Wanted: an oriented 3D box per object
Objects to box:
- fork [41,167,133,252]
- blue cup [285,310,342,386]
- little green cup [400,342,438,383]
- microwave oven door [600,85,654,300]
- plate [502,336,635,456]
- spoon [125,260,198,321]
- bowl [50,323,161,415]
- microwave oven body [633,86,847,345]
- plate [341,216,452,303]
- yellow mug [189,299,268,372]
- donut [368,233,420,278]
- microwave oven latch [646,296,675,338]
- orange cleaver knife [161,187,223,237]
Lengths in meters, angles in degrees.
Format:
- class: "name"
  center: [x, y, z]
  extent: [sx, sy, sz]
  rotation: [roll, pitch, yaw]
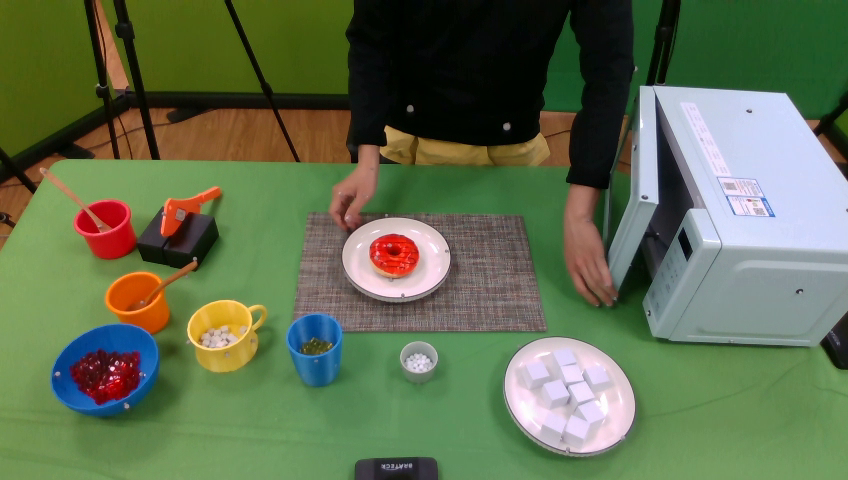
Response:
- class: "fork"
  center: [-0.624, -0.056, 1.121]
  extent: [0.208, 0.018, 0.028]
  rotation: [49, 52, -15]
- class: "blue cup"
  center: [-0.170, 0.179, 0.958]
  extent: [0.093, 0.101, 0.092]
  rotation: [2, 44, -1]
- class: "little green cup"
  center: [-0.009, 0.202, 0.991]
  extent: [0.061, 0.039, 0.061]
  rotation: [2, 47, -2]
- class: "microwave oven door"
  center: [0.385, -0.099, 1.143]
  extent: [0.039, 0.245, 0.354]
  rotation: [12, 46, 8]
- class: "plate"
  center: [0.225, 0.248, 0.963]
  extent: [0.208, 0.039, 0.206]
  rotation: [2, 46, -2]
- class: "spoon"
  center: [-0.434, 0.083, 1.000]
  extent: [0.022, 0.194, 0.041]
  rotation: [35, 34, -34]
- class: "bowl"
  center: [-0.472, 0.209, 0.924]
  extent: [0.151, 0.077, 0.150]
  rotation: [2, 45, -2]
- class: "microwave oven body"
  center: [0.568, -0.053, 1.119]
  extent: [0.326, 0.261, 0.439]
  rotation: [2, 45, -1]
- class: "plate"
  center: [-0.052, 0.039, 1.140]
  extent: [0.209, 0.038, 0.208]
  rotation: [2, 46, -2]
- class: "yellow mug"
  center: [-0.316, 0.148, 1.002]
  extent: [0.131, 0.064, 0.099]
  rotation: [-32, 56, -31]
- class: "donut"
  center: [-0.056, 0.030, 1.134]
  extent: [0.099, 0.048, 0.098]
  rotation: [4, 46, -4]
- class: "microwave oven latch"
  center: [0.412, 0.134, 1.061]
  extent: [0.030, 0.029, 0.078]
  rotation: [4, 45, 1]
- class: "orange cleaver knife"
  center: [-0.448, -0.058, 1.181]
  extent: [0.012, 0.077, 0.211]
  rotation: [13, 17, 6]
